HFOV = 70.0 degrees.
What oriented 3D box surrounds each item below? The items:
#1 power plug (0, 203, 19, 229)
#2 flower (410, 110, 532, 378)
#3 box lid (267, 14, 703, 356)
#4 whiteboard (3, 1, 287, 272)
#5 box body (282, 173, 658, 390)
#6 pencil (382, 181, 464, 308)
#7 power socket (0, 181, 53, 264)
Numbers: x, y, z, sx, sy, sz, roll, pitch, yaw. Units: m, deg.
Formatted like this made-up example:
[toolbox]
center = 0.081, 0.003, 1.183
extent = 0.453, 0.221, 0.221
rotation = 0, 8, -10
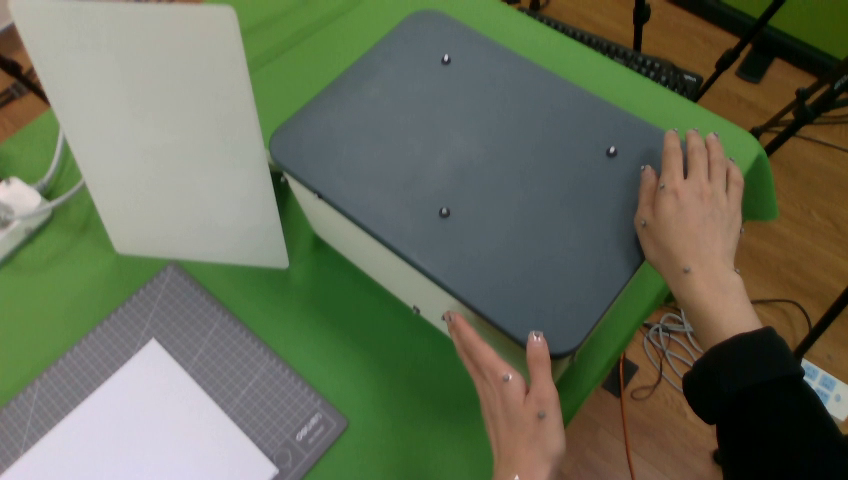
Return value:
[power plug]
center = -0.501, -0.018, 0.721
extent = 0.072, 0.053, 0.035
rotation = 40, 70, 21
[flower]
center = 0.054, -0.008, 0.710
extent = 0.044, 0.038, 0.358
rotation = -32, 62, 22
[box lid]
center = 0.051, -0.082, 0.595
extent = 0.369, 0.015, 0.263
rotation = 35, 68, 20
[whiteboard]
center = -0.259, -0.130, 0.678
extent = 0.217, 0.308, 0.142
rotation = 5, 41, 7
[box body]
center = 0.057, -0.043, 0.658
extent = 0.361, 0.162, 0.253
rotation = 34, 67, 20
[pencil]
center = -0.002, 0.002, 0.718
extent = 0.012, 0.012, 0.192
rotation = -27, 65, -12
[power socket]
center = -0.553, 0.017, 0.730
extent = 0.072, 0.033, 0.226
rotation = 31, 66, 18
